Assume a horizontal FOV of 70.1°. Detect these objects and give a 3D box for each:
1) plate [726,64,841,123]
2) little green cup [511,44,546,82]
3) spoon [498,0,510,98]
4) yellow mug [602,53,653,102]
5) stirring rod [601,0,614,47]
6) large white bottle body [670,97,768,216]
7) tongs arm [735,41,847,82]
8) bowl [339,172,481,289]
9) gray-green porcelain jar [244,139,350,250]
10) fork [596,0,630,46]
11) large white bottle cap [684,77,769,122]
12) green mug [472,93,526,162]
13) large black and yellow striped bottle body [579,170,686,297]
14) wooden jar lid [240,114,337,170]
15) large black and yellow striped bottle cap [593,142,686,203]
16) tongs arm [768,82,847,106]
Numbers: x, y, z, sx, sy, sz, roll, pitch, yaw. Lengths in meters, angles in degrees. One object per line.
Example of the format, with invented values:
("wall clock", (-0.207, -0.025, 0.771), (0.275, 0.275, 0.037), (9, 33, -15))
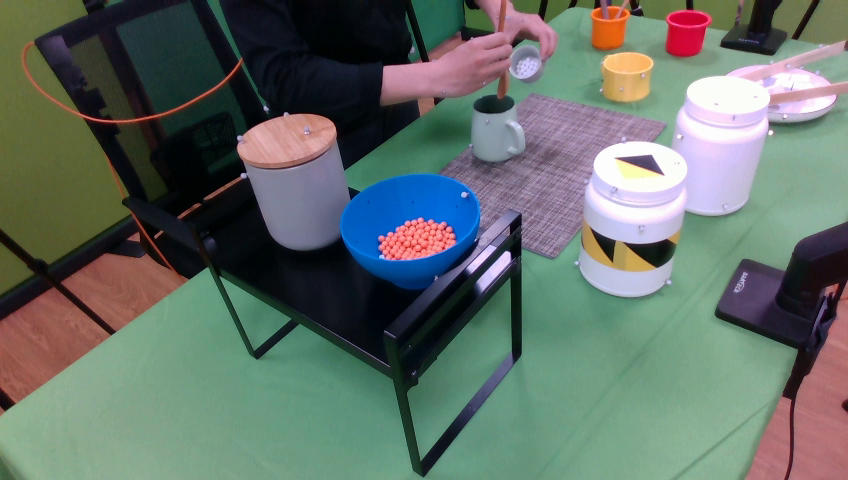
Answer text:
("plate", (0.695, -0.282, 1.189), (0.207, 0.039, 0.206), (-4, 40, 4))
("little green cup", (0.193, -0.322, 1.108), (0.061, 0.039, 0.061), (-4, 80, 23))
("spoon", (0.130, -0.311, 0.996), (0.021, 0.195, 0.041), (-7, 57, 5))
("yellow mug", (0.423, -0.354, 1.292), (0.100, 0.064, 0.129), (-23, 42, -16))
("stirring rod", (0.439, -0.552, 1.463), (0.014, 0.006, 0.175), (-7, 83, 3))
("large white bottle body", (0.458, -0.146, 0.952), (0.130, 0.185, 0.130), (-4, 40, 4))
("tongs arm", (0.712, -0.332, 1.194), (0.386, 0.026, 0.050), (-19, 45, -16))
("bowl", (-0.011, 0.001, 0.660), (0.151, 0.077, 0.150), (-5, 41, 5))
("gray-green porcelain jar", (-0.143, -0.060, 0.714), (0.106, 0.127, 0.105), (-4, 41, 4))
("fork", (0.481, -0.556, 1.452), (0.028, 0.019, 0.207), (40, 103, 39))
("large white bottle cap", (0.448, -0.210, 0.898), (0.115, 0.018, 0.114), (-4, 40, 4))
("green mug", (0.144, -0.202, 1.122), (0.093, 0.105, 0.124), (-29, 45, -23))
("large black and yellow striped bottle body", (0.287, -0.027, 0.841), (0.131, 0.185, 0.130), (-4, 40, 4))
("wooden jar lid", (-0.149, -0.106, 0.673), (0.108, 0.021, 0.108), (-6, 39, 5))
("large black and yellow striped bottle cap", (0.280, -0.090, 0.786), (0.115, 0.019, 0.114), (-5, 41, 5))
("tongs arm", (0.738, -0.282, 1.134), (0.388, 0.028, 0.028), (-9, 46, -5))
